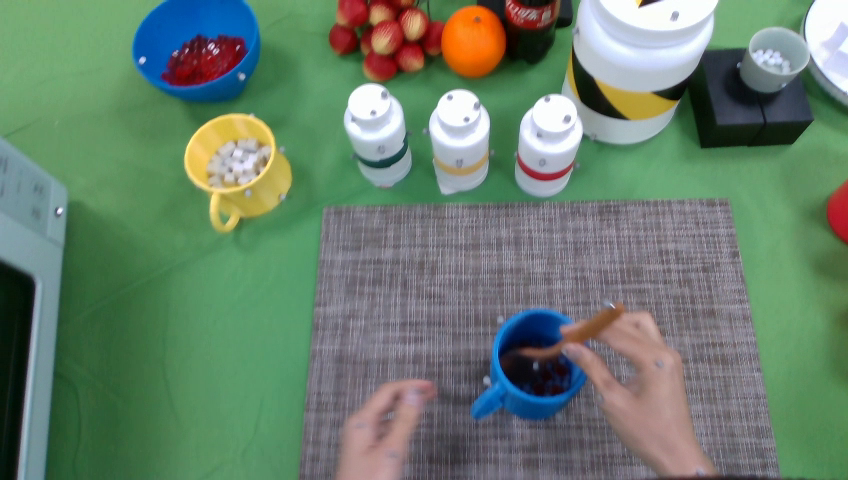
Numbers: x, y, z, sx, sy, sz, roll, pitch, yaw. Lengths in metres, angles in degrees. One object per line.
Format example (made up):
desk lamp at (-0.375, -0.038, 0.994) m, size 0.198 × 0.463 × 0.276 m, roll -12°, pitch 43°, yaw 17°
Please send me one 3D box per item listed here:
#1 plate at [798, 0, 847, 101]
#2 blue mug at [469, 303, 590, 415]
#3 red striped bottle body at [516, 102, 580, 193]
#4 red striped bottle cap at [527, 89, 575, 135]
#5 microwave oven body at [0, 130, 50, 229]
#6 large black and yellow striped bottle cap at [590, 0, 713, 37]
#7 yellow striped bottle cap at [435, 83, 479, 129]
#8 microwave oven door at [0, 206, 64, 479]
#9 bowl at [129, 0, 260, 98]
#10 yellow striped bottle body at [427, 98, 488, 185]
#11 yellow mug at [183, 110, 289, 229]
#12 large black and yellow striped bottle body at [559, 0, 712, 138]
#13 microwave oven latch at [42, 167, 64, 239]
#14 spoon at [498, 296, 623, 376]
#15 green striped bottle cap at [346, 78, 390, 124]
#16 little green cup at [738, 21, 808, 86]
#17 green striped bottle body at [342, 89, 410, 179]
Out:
plate at (0.538, -0.228, 0.701) m, size 0.209 × 0.038 × 0.207 m, roll -1°, pitch 68°, yaw 4°
blue mug at (0.089, 0.122, 0.554) m, size 0.116 × 0.106 × 0.081 m, roll -35°, pitch 69°, yaw -10°
red striped bottle body at (0.129, -0.104, 0.638) m, size 0.063 × 0.120 × 0.062 m, roll -3°, pitch 66°, yaw 6°
red striped bottle cap at (0.124, -0.125, 0.590) m, size 0.044 × 0.018 × 0.044 m, roll 0°, pitch 66°, yaw 1°
microwave oven body at (-0.551, 0.109, 0.524) m, size 0.326 × 0.262 × 0.438 m, roll -10°, pitch 68°, yaw 0°
large black and yellow striped bottle cap at (0.211, -0.238, 0.560) m, size 0.115 × 0.019 × 0.114 m, roll -2°, pitch 67°, yaw 4°
yellow striped bottle cap at (0.033, -0.133, 0.601) m, size 0.044 × 0.019 × 0.044 m, roll -1°, pitch 69°, yaw 3°
microwave oven door at (-0.401, 0.121, 0.502) m, size 0.039 × 0.245 × 0.353 m, roll -10°, pitch 67°, yaw 1°
bowl at (-0.266, -0.228, 0.741) m, size 0.151 × 0.077 × 0.150 m, roll -1°, pitch 68°, yaw 3°
yellow striped bottle body at (0.037, -0.113, 0.648) m, size 0.063 × 0.121 × 0.062 m, roll -2°, pitch 67°, yaw 5°
yellow mug at (-0.214, -0.074, 0.681) m, size 0.100 × 0.064 × 0.130 m, roll 9°, pitch 70°, yaw 7°
large black and yellow striped bottle body at (0.219, -0.208, 0.638) m, size 0.131 × 0.185 × 0.130 m, roll -2°, pitch 68°, yaw 4°
microwave oven latch at (-0.424, -0.040, 0.679) m, size 0.030 × 0.030 × 0.078 m, roll -8°, pitch 68°, yaw 1°
spoon at (0.110, 0.084, 0.504) m, size 0.042 × 0.194 × 0.021 m, roll 27°, pitch 63°, yaw -5°
green striped bottle cap at (-0.057, -0.140, 0.610) m, size 0.044 × 0.020 × 0.044 m, roll -1°, pitch 67°, yaw 3°
little green cup at (0.369, -0.197, 0.647) m, size 0.061 × 0.039 × 0.061 m, roll -1°, pitch 67°, yaw 3°
green striped bottle body at (-0.052, -0.120, 0.659) m, size 0.063 × 0.120 × 0.062 m, roll -2°, pitch 68°, yaw 4°
